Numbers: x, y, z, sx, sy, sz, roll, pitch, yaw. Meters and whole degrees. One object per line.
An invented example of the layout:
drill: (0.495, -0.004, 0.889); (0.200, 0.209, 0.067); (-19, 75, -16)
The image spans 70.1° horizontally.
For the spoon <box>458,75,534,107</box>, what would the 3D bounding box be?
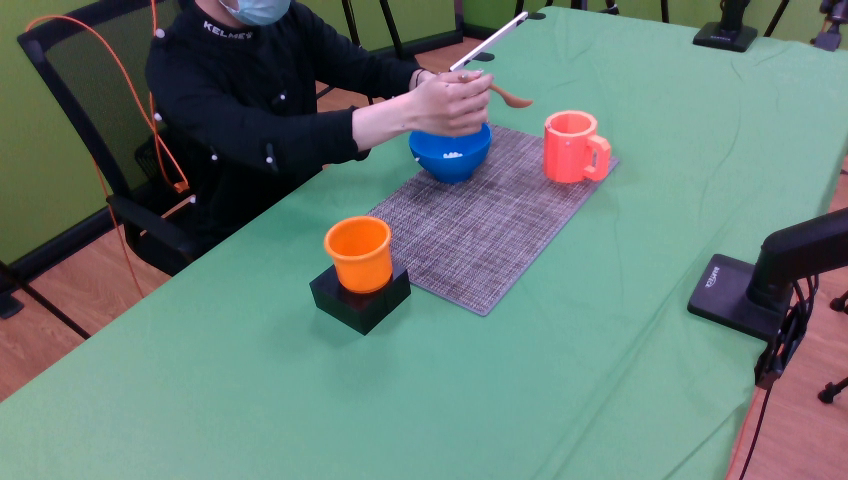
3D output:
spoon: (0.113, -0.234, 0.946); (0.041, 0.021, 0.195); (-1, -5, 41)

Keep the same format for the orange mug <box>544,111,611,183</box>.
orange mug: (0.266, -0.157, 1.049); (0.084, 0.101, 0.125); (-33, 42, -27)

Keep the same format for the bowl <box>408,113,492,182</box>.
bowl: (0.049, -0.158, 1.097); (0.151, 0.077, 0.150); (-4, 41, 4)
